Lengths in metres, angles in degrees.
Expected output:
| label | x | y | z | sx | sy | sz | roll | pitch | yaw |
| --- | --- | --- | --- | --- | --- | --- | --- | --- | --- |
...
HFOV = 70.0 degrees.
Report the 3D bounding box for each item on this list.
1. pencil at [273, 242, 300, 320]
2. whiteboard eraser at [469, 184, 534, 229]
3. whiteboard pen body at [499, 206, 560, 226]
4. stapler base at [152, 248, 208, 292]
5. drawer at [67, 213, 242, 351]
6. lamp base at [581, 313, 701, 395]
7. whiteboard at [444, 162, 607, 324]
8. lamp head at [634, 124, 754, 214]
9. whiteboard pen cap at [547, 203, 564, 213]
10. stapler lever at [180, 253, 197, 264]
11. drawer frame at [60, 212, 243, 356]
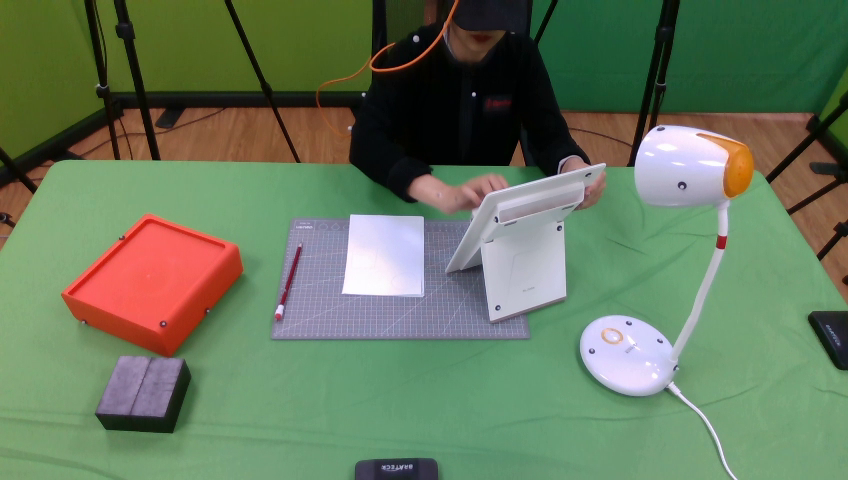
| label | x | y | z | sx | sy | sz | roll | pitch | yaw |
| --- | --- | --- | --- | --- | --- | --- | --- | --- | --- |
| pencil | -0.249 | 0.070 | 1.115 | 0.012 | 0.012 | 0.193 | 5 | 44 | 1 |
| whiteboard eraser | 0.136 | -0.057 | 1.060 | 0.113 | 0.056 | 0.041 | -24 | 73 | -7 |
| whiteboard pen body | 0.221 | -0.052 | 1.259 | 0.141 | 0.017 | 0.017 | -16 | 49 | -16 |
| stapler base | -0.443 | 0.049 | 1.101 | 0.130 | 0.024 | 0.041 | 31 | 37 | 29 |
| drawer | -0.461 | 0.068 | 1.057 | 0.194 | 0.073 | 0.211 | 19 | 48 | 13 |
| lamp base | 0.361 | 0.144 | 0.973 | 0.178 | 0.181 | 0.160 | 34 | 53 | 23 |
| whiteboard | 0.186 | 0.025 | 1.029 | 0.217 | 0.306 | 0.143 | -15 | 68 | -18 |
| lamp head | 0.351 | -0.089 | 0.775 | 0.112 | 0.113 | 0.122 | -30 | 30 | -28 |
| whiteboard pen cap | 0.277 | -0.066 | 1.275 | 0.033 | 0.018 | 0.018 | -18 | 50 | -15 |
| stapler lever | -0.441 | 0.026 | 1.086 | 0.117 | 0.040 | 0.027 | 30 | 36 | 30 |
| drawer frame | -0.462 | 0.070 | 1.053 | 0.201 | 0.083 | 0.213 | 18 | 48 | 12 |
